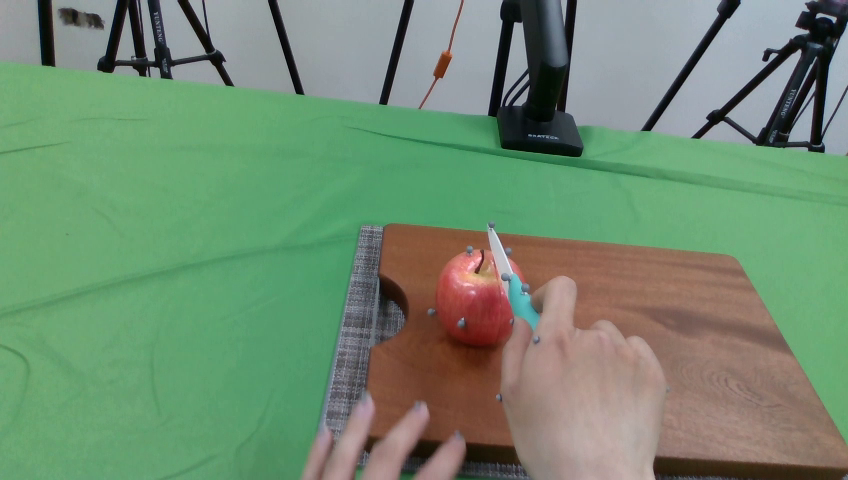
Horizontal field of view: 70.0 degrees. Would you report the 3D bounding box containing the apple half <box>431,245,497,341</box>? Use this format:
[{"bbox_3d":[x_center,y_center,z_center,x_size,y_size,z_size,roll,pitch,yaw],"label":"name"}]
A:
[{"bbox_3d":[0.033,0.047,0.531,0.053,0.075,0.080,-1,44,-3],"label":"apple half"}]

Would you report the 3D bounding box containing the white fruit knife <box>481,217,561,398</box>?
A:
[{"bbox_3d":[0.067,0.036,0.466,0.016,0.027,0.205,4,32,-12],"label":"white fruit knife"}]

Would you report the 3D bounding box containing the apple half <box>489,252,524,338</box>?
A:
[{"bbox_3d":[0.071,0.047,0.535,0.033,0.082,0.080,-1,40,-3],"label":"apple half"}]
